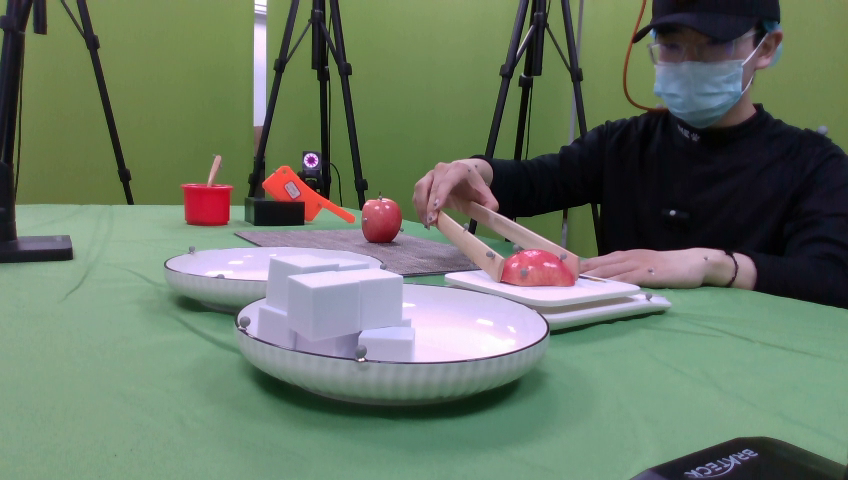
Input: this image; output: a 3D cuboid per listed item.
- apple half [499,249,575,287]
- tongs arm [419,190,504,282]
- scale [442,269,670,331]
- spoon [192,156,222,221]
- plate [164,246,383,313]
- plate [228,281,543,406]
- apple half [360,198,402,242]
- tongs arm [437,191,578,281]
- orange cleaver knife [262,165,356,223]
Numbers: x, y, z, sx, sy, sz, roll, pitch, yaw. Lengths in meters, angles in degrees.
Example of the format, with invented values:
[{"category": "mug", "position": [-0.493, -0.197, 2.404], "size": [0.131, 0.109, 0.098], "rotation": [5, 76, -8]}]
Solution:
[{"category": "apple half", "position": [0.104, 0.024, 0.583], "size": [0.081, 0.033, 0.081], "rotation": [3, 8, 0]}, {"category": "tongs arm", "position": [0.044, -0.018, 0.745], "size": [0.051, 0.026, 0.383], "rotation": [-1, 14, -15]}, {"category": "scale", "position": [0.131, 0.052, 0.603], "size": [0.202, 0.031, 0.148], "rotation": [-2, 9, -37]}, {"category": "spoon", "position": [-0.430, -0.108, 1.222], "size": [0.041, 0.021, 0.193], "rotation": [-1, 52, 0]}, {"category": "plate", "position": [-0.145, 0.038, 0.600], "size": [0.209, 0.038, 0.209], "rotation": [2, 7, 0]}, {"category": "plate", "position": [-0.025, 0.067, 0.413], "size": [0.208, 0.039, 0.207], "rotation": [3, 7, 0]}, {"category": "apple half", "position": [-0.066, -0.033, 1.014], "size": [0.053, 0.074, 0.081], "rotation": [9, 6, 21]}, {"category": "tongs arm", "position": [0.088, -0.017, 0.756], "size": [0.028, 0.028, 0.386], "rotation": [-5, 15, -16]}, {"category": "orange cleaver knife", "position": [-0.243, -0.081, 1.292], "size": [0.212, 0.077, 0.012], "rotation": [34, -8, -26]}]
